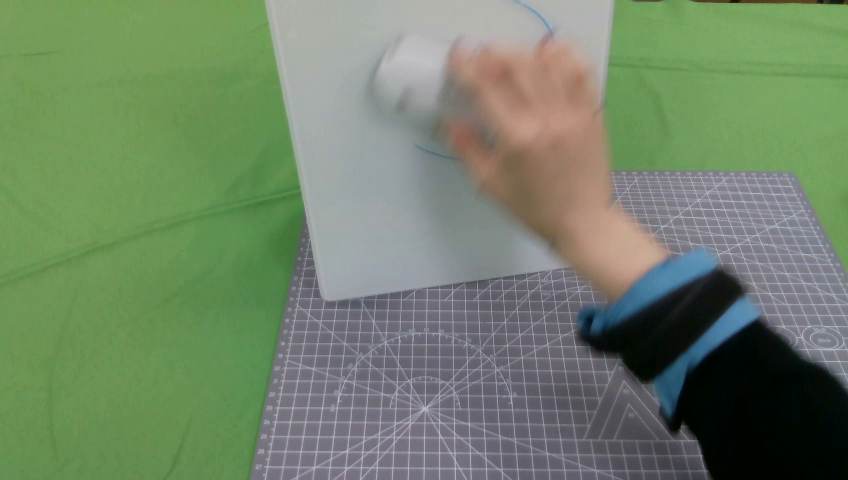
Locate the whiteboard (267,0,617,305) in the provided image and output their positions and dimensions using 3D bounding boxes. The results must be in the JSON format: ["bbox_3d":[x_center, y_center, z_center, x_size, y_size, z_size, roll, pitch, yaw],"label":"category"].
[{"bbox_3d":[0.009,-0.129,0.456,0.217,0.308,0.142,-7,32,-6],"label":"whiteboard"}]

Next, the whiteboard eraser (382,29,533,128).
[{"bbox_3d":[0.022,-0.102,0.386,0.102,0.041,0.018,15,27,-18],"label":"whiteboard eraser"}]
